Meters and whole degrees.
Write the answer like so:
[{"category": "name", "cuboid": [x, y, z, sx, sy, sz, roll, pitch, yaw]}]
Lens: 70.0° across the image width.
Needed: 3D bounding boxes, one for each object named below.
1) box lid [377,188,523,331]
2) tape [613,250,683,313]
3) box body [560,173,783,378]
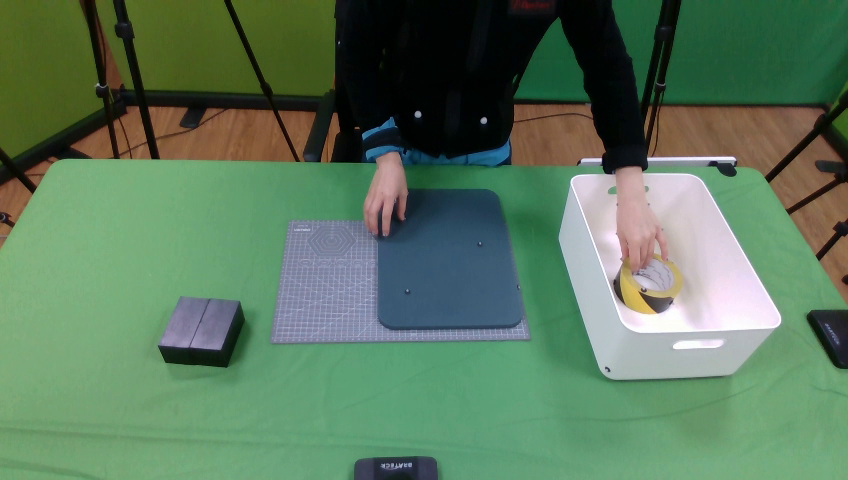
[{"category": "box lid", "cuboid": [0.040, 0.024, 1.181, 0.263, 0.015, 0.369, 0, 46, -4]}, {"category": "tape", "cuboid": [0.413, 0.076, 1.121, 0.117, 0.053, 0.116, 4, 48, -4]}, {"category": "box body", "cuboid": [0.405, 0.057, 1.074, 0.254, 0.161, 0.361, -2, 46, -5]}]
